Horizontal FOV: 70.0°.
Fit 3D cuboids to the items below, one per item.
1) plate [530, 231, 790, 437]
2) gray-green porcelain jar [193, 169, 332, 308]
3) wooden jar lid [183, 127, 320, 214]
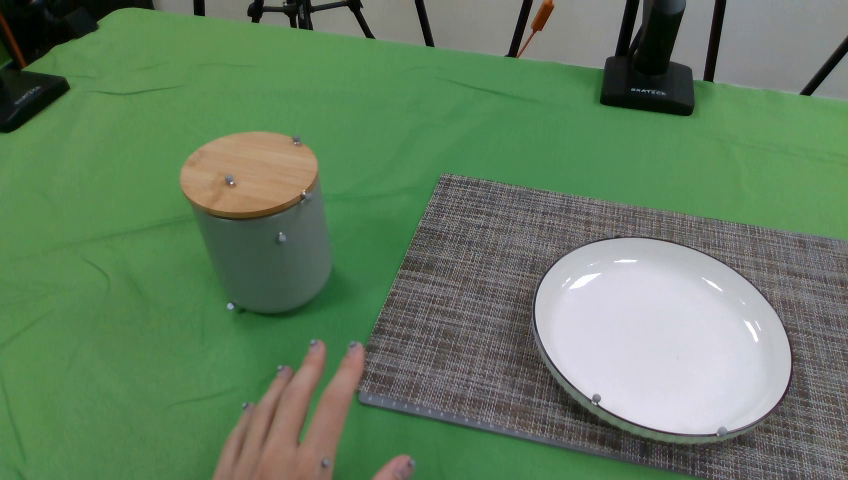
[{"bbox_3d":[0.193,0.076,0.516,0.208,0.039,0.205,0,45,0],"label":"plate"},{"bbox_3d":[-0.139,-0.009,0.544,0.106,0.127,0.105,0,45,0],"label":"gray-green porcelain jar"},{"bbox_3d":[-0.140,-0.055,0.498,0.108,0.021,0.107,3,44,-2],"label":"wooden jar lid"}]
